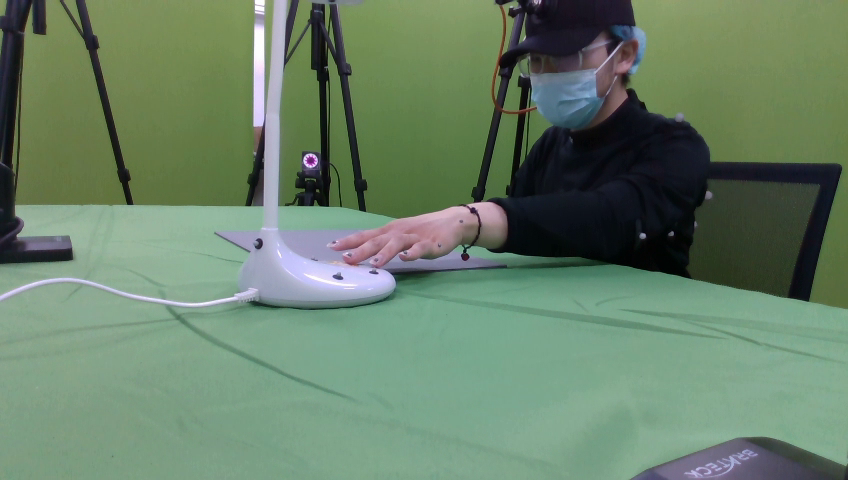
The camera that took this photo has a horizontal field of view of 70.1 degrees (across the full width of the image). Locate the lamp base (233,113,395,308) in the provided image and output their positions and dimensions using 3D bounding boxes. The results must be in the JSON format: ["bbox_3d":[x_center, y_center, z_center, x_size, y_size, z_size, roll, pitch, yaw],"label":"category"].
[{"bbox_3d":[-0.113,-0.033,0.600,0.160,0.180,0.180,6,11,28],"label":"lamp base"}]

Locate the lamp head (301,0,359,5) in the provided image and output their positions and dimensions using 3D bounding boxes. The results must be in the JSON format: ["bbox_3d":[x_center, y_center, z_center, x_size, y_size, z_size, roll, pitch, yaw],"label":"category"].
[{"bbox_3d":[-0.095,-0.314,0.610,0.112,0.123,0.112,-4,50,5],"label":"lamp head"}]
